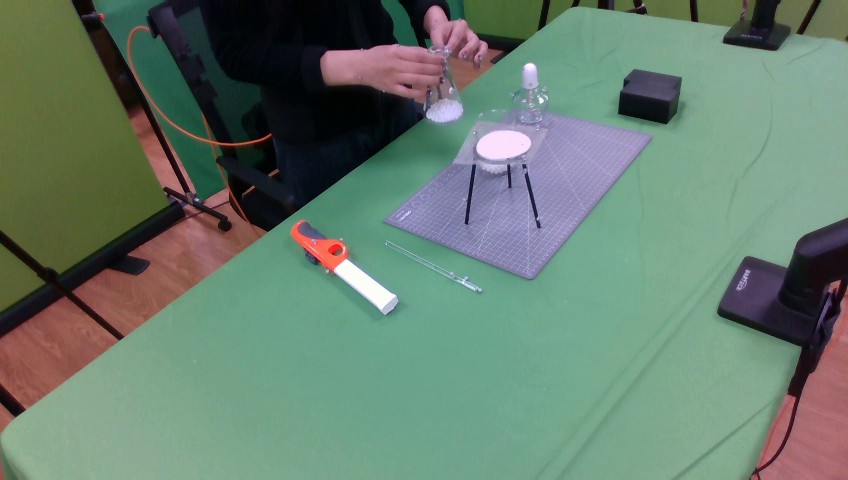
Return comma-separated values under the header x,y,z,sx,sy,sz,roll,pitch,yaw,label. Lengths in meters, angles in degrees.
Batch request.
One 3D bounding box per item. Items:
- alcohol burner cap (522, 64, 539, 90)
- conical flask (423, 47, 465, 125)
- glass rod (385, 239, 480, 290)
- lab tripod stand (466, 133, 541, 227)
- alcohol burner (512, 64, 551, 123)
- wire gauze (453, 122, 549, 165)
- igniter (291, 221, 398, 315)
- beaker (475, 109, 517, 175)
x,y,z,sx,sy,sz,roll,pitch,yaw,label
0.210,-0.325,1.195,0.034,0.048,0.033,-6,45,7,alcohol burner cap
0.030,-0.266,1.035,0.075,0.122,0.075,-4,39,4,conical flask
0.009,0.037,0.950,0.198,0.008,0.008,27,52,35,glass rod
0.129,-0.099,0.985,0.148,0.132,0.147,-6,38,6,lab tripod stand
0.215,-0.298,1.220,0.078,0.120,0.077,-7,40,7,alcohol burner
0.121,-0.150,0.942,0.121,0.011,0.125,8,42,21,wire gauze
-0.136,0.037,0.962,0.057,0.025,0.274,-41,48,-18,igniter
0.131,-0.174,1.101,0.073,0.101,0.084,17,47,29,beaker
